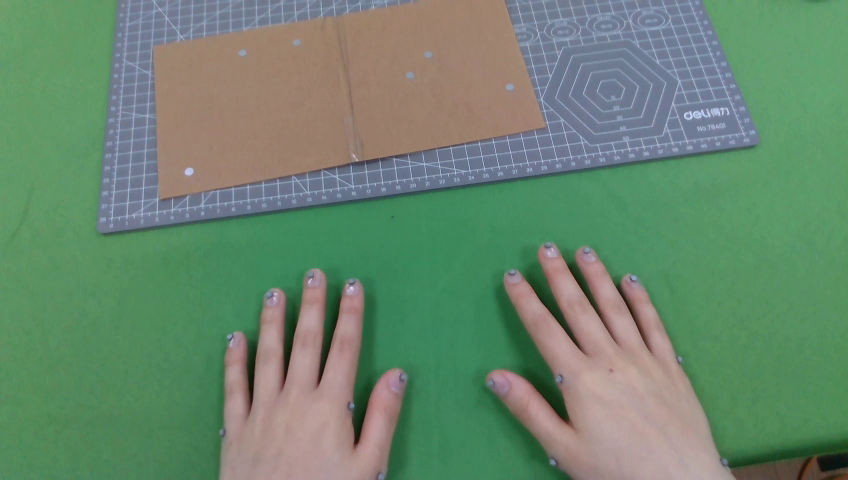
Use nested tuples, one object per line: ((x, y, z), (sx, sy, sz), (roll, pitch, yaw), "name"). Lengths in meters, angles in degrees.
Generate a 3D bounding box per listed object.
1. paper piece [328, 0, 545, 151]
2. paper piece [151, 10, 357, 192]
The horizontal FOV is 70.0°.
((0.005, -0.132, 0.440), (0.136, 0.004, 0.134), (-11, 66, -4), "paper piece")
((-0.125, -0.105, 0.433), (0.138, 0.009, 0.135), (-11, 64, -2), "paper piece")
